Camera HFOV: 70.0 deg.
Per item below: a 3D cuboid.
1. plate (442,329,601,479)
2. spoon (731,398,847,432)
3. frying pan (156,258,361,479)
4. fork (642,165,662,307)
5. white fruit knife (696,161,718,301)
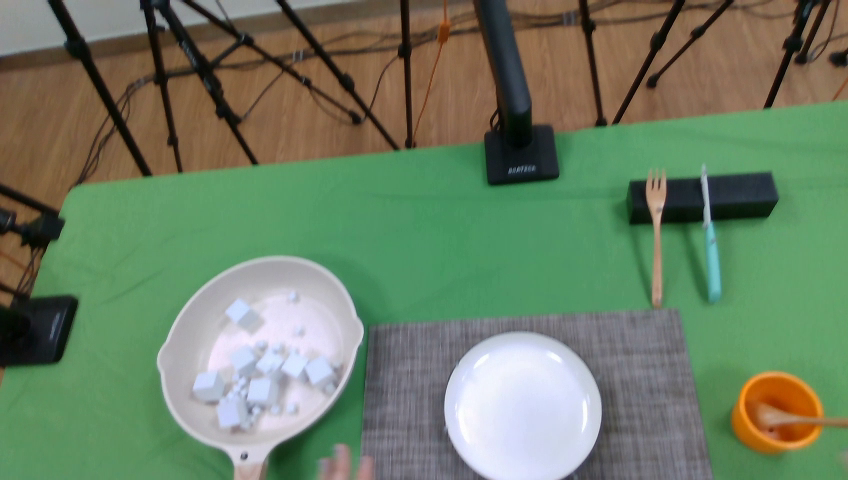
[{"bbox_3d":[0.128,0.222,0.808,0.207,0.039,0.206,-5,60,9],"label":"plate"},{"bbox_3d":[0.443,0.204,0.692,0.193,0.022,0.041,-16,53,51],"label":"spoon"},{"bbox_3d":[-0.231,0.248,0.827,0.306,0.104,0.483,-8,51,7],"label":"frying pan"},{"bbox_3d":[0.332,-0.007,0.879,0.028,0.019,0.206,2,80,4],"label":"fork"},{"bbox_3d":[0.403,-0.017,0.870,0.016,0.027,0.206,-2,75,8],"label":"white fruit knife"}]
